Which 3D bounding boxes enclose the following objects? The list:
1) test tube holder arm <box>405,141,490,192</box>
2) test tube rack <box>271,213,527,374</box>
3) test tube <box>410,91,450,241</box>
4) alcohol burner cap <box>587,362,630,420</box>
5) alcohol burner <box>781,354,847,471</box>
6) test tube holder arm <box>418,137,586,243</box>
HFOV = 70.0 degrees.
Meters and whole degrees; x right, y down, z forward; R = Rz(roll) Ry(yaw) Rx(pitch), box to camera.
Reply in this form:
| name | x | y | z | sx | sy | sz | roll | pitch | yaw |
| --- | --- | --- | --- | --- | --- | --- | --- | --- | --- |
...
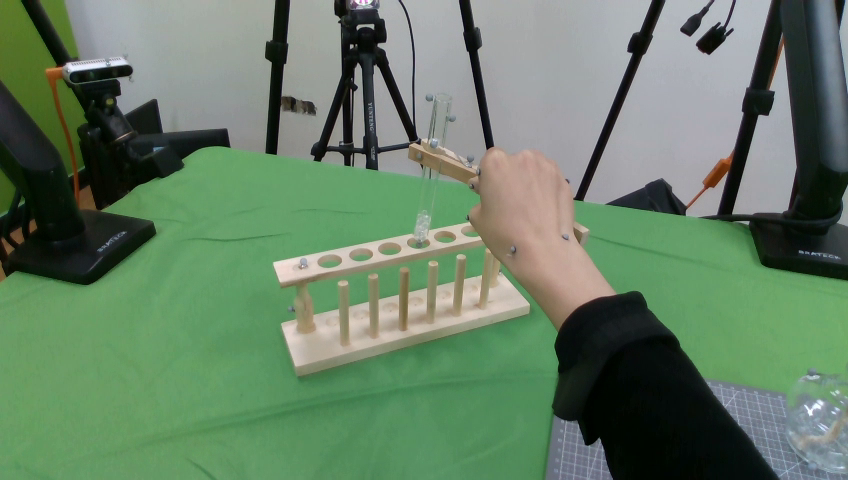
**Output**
| name | x | y | z | sx | sy | sz | roll | pitch | yaw |
| --- | --- | --- | --- | --- | --- | --- | --- | --- | --- |
| test tube holder arm | 0.020 | -0.063 | 0.512 | 0.087 | 0.015 | 0.010 | 27 | 40 | 27 |
| test tube rack | -0.017 | 0.046 | 0.589 | 0.243 | 0.086 | 0.066 | -12 | 35 | -20 |
| test tube | 0.004 | -0.060 | 0.538 | 0.017 | 0.151 | 0.017 | 6 | 37 | -4 |
| alcohol burner cap | 0.157 | 0.124 | 0.511 | 0.034 | 0.048 | 0.033 | 2 | 34 | -1 |
| alcohol burner | 0.322 | 0.118 | 0.461 | 0.078 | 0.120 | 0.077 | 2 | 35 | -1 |
| test tube holder arm | 0.057 | -0.045 | 0.492 | 0.013 | 0.015 | 0.176 | -27 | 46 | -37 |
